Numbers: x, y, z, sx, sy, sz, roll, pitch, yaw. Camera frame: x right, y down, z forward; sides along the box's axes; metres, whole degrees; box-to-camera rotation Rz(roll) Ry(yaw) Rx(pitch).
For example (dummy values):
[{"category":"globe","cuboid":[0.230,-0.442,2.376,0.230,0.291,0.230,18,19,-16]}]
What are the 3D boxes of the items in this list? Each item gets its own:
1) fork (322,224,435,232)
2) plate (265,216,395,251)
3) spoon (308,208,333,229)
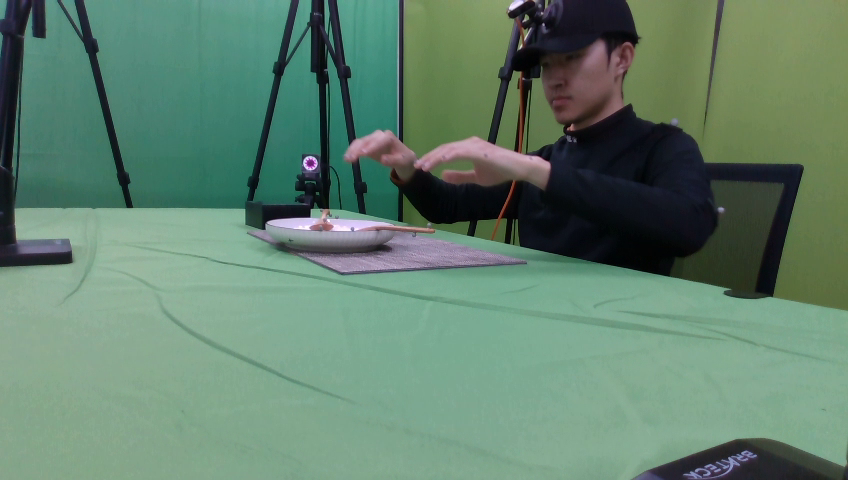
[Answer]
[{"category":"fork","cuboid":[-0.076,-0.015,0.915,0.206,0.018,0.028,-4,6,28]},{"category":"plate","cuboid":[-0.150,-0.011,0.978,0.209,0.038,0.209,3,7,0]},{"category":"spoon","cuboid":[-0.178,-0.041,1.071,0.042,0.021,0.193,-3,15,-4]}]
